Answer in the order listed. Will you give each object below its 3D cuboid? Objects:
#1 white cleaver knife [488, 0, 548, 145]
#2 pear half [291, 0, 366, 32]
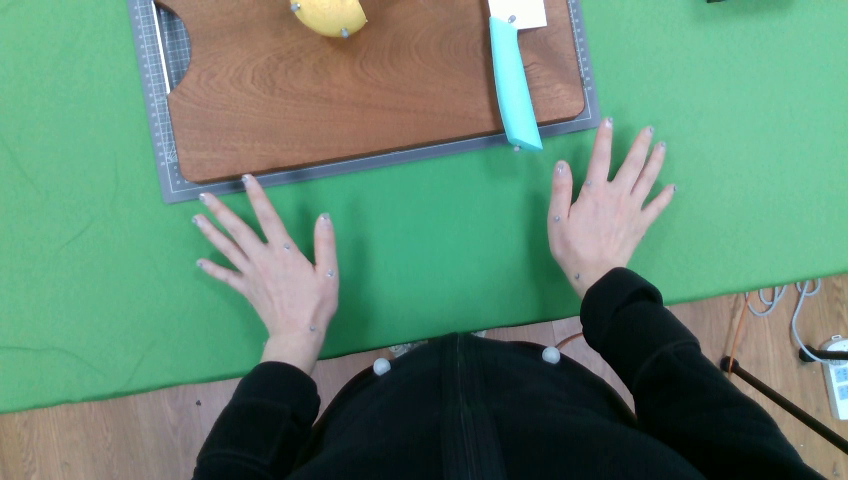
[{"bbox_3d":[0.088,-0.233,0.583,0.066,0.021,0.286,-10,92,-12],"label":"white cleaver knife"},{"bbox_3d":[-0.092,-0.223,0.535,0.056,0.110,0.076,-40,86,-1],"label":"pear half"}]
